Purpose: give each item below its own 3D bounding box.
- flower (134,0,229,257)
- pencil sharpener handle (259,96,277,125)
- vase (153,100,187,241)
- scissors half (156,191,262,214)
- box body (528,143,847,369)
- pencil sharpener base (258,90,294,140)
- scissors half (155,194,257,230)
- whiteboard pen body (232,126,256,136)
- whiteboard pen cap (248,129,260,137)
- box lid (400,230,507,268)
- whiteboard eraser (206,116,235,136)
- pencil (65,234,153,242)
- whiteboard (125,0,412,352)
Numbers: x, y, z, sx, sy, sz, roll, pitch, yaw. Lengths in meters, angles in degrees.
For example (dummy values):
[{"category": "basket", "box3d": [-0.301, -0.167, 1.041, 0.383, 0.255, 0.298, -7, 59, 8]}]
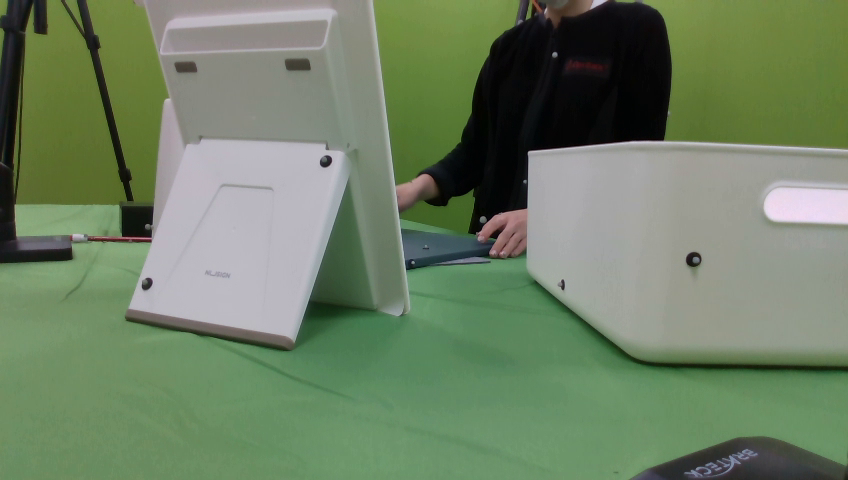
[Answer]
[{"category": "flower", "box3d": [-0.282, -0.146, 0.713, 0.038, 0.362, 0.044, -22, 23, -30]}, {"category": "pencil sharpener handle", "box3d": [-0.373, -0.304, 1.425, 0.036, 0.067, 0.030, 13, -1, -37]}, {"category": "vase", "box3d": [-0.278, -0.066, 0.736, 0.098, 0.200, 0.098, 2, 9, 0]}, {"category": "scissors half", "box3d": [-0.371, -0.069, 1.051, 0.176, 0.040, 0.013, 2, 25, -24]}, {"category": "box body", "box3d": [0.257, -0.005, 0.591, 0.254, 0.160, 0.363, 2, 7, -4]}, {"category": "pencil sharpener base", "box3d": [-0.341, -0.285, 1.388, 0.062, 0.107, 0.076, -3, 9, -36]}, {"category": "scissors half", "box3d": [-0.378, -0.051, 1.058, 0.176, 0.040, 0.012, 20, 22, -31]}, {"category": "whiteboard pen body", "box3d": [-0.407, -0.247, 1.372, 0.017, 0.017, 0.140, -3, 13, -35]}, {"category": "whiteboard pen cap", "box3d": [-0.373, -0.235, 1.326, 0.018, 0.018, 0.033, -3, 12, -35]}, {"category": "box lid", "box3d": [-0.065, 0.011, 0.933, 0.262, 0.015, 0.373, 7, 8, 36]}, {"category": "whiteboard eraser", "box3d": [-0.449, -0.251, 1.335, 0.056, 0.042, 0.112, 1, 7, -22]}, {"category": "pencil", "box3d": [-0.429, -0.001, 0.911, 0.195, 0.012, 0.012, 1, 8, -19]}, {"category": "whiteboard", "box3d": [-0.151, -0.049, 0.472, 0.216, 0.305, 0.144, 6, 27, 24]}]
